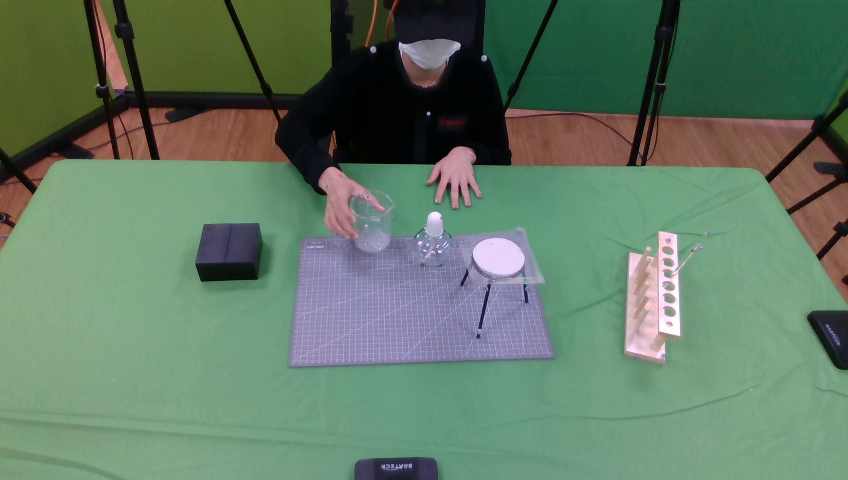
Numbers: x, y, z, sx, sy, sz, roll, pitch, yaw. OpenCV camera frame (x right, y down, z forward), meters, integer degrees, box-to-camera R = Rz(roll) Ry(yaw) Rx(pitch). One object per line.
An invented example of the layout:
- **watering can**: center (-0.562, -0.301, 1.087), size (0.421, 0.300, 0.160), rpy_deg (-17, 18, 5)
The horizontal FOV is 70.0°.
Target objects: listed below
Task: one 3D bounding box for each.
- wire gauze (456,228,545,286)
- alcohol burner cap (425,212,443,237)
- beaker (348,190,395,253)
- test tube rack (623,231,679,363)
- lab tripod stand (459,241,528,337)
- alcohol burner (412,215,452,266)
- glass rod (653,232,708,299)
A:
- **wire gauze**: center (0.126, 0.029, 1.006), size (0.125, 0.011, 0.120), rpy_deg (-4, 46, -10)
- **alcohol burner cap**: center (0.019, -0.032, 1.114), size (0.034, 0.048, 0.033), rpy_deg (0, 48, 0)
- **beaker**: center (-0.096, -0.031, 1.115), size (0.084, 0.101, 0.073), rpy_deg (-4, 48, -6)
- **test tube rack**: center (0.410, 0.094, 1.096), size (0.066, 0.085, 0.241), rpy_deg (13, 46, 9)
- **lab tripod stand**: center (0.122, 0.075, 1.054), size (0.148, 0.132, 0.147), rpy_deg (3, 44, -3)
- **alcohol burner**: center (0.017, -0.006, 1.139), size (0.078, 0.119, 0.077), rpy_deg (2, 48, -2)
- **glass rod**: center (0.441, 0.049, 1.050), size (0.008, 0.200, 0.008), rpy_deg (4, 52, -5)
